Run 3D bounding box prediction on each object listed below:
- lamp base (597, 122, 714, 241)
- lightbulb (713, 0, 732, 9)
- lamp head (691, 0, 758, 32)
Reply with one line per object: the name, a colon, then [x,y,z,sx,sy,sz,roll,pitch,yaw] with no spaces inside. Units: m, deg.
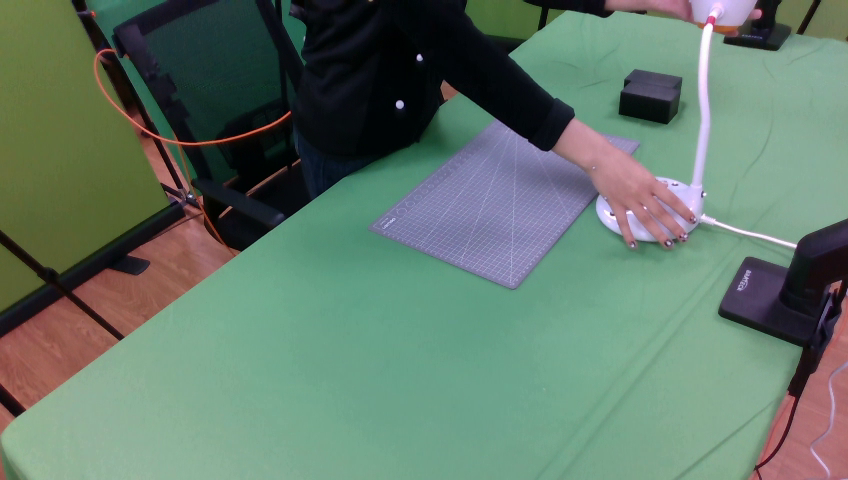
lamp base: [0.363,-0.109,0.921,0.178,0.181,0.160,13,45,21]
lightbulb: [0.432,-0.387,0.863,0.059,0.108,0.059,-5,31,4]
lamp head: [0.434,-0.363,0.869,0.112,0.123,0.112,1,28,0]
